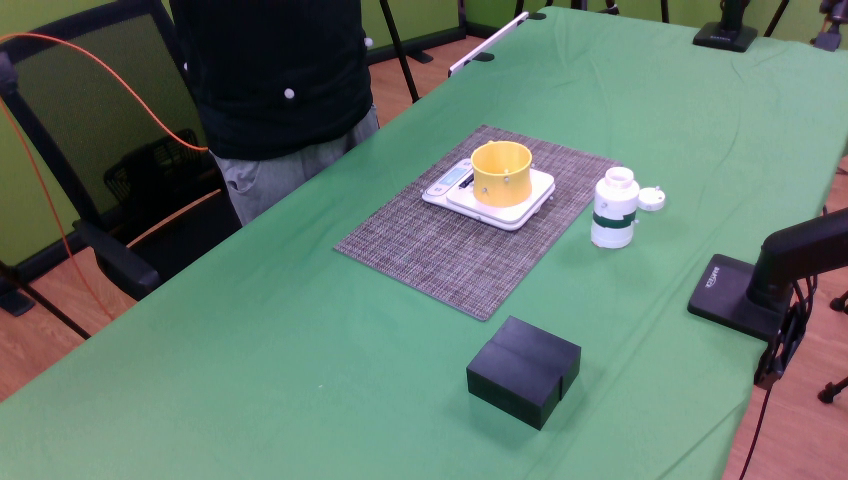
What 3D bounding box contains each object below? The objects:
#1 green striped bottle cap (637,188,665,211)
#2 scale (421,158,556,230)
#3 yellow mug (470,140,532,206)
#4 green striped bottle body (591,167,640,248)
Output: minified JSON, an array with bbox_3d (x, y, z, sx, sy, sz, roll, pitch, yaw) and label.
[{"bbox_3d":[0.374,-0.067,0.998,0.044,0.020,0.044,-7,39,6],"label":"green striped bottle cap"},{"bbox_3d":[0.110,-0.089,1.042,0.199,0.032,0.149,23,48,31],"label":"scale"},{"bbox_3d":[0.124,-0.121,1.004,0.100,0.064,0.130,-13,40,-5],"label":"yellow mug"},{"bbox_3d":[0.288,-0.050,0.910,0.063,0.120,0.063,-4,41,4],"label":"green striped bottle body"}]
